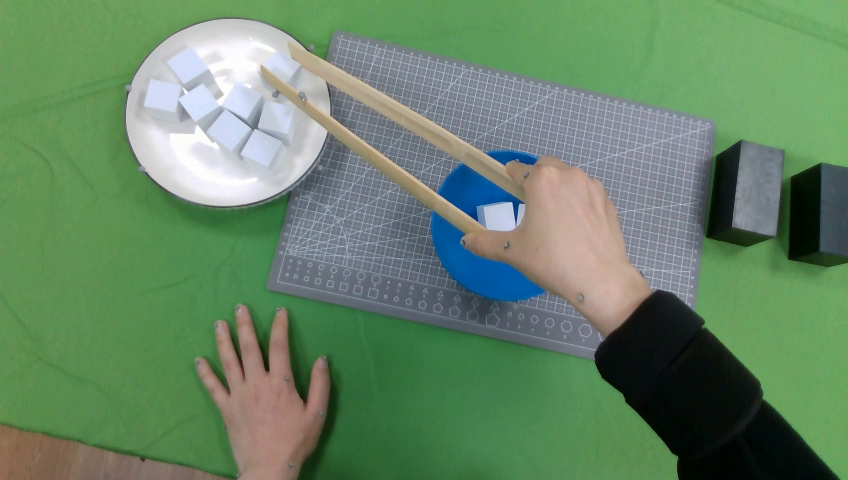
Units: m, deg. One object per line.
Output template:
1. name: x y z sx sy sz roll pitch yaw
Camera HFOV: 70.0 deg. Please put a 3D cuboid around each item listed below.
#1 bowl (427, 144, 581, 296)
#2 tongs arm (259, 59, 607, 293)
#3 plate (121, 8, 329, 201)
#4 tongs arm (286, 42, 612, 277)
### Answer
1. bowl: 0.074 -0.013 0.615 0.151 0.077 0.150 1 79 -6
2. tongs arm: -0.014 -0.072 0.520 0.051 0.027 0.381 -37 61 -22
3. plate: -0.203 -0.139 0.633 0.208 0.039 0.206 1 79 -4
4. tongs arm: 0.002 -0.087 0.530 0.384 0.028 0.028 36 60 25
